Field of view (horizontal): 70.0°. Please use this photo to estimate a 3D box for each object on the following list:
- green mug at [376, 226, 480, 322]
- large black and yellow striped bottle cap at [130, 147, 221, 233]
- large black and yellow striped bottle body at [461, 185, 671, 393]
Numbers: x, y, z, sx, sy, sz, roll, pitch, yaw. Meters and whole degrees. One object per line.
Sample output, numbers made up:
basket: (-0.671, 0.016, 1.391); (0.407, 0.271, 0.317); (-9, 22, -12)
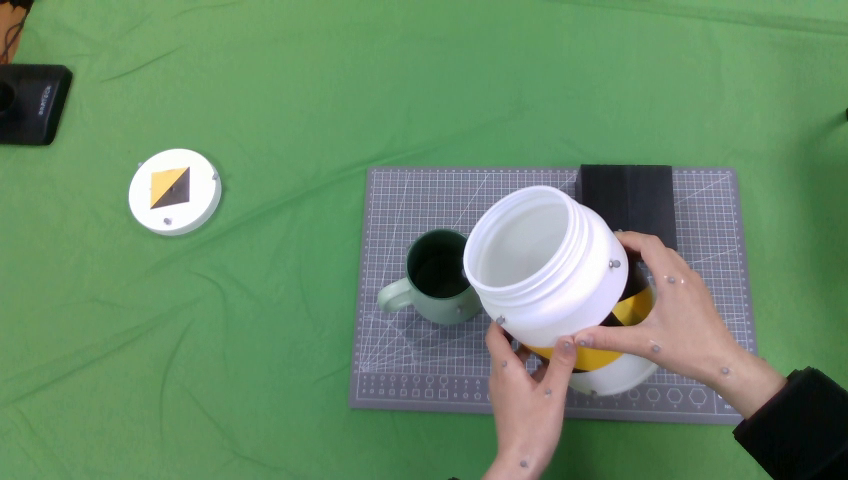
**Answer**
green mug: (0.007, 0.045, 0.664); (0.125, 0.105, 0.092); (-24, 72, -3)
large black and yellow striped bottle cap: (-0.319, -0.065, 0.776); (0.115, 0.019, 0.114); (-1, 71, 4)
large black and yellow striped bottle body: (0.131, 0.046, 0.558); (0.130, 0.186, 0.129); (-29, 39, 26)
